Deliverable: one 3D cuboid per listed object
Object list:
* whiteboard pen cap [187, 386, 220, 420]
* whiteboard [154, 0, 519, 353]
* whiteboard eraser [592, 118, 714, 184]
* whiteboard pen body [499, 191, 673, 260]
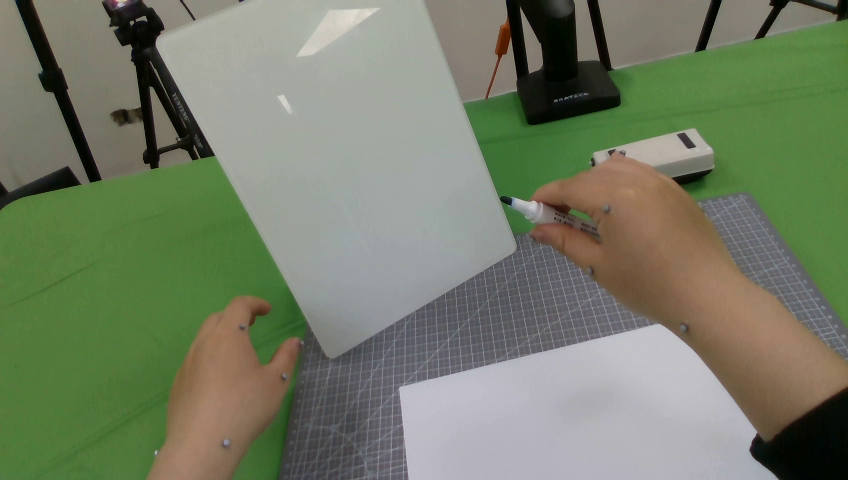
[{"bbox_3d":[-0.190,0.141,0.523,0.018,0.033,0.018,-7,43,7],"label":"whiteboard pen cap"},{"bbox_3d":[-0.076,-0.092,0.587,0.217,0.307,0.142,-29,22,-14],"label":"whiteboard"},{"bbox_3d":[0.239,-0.091,0.637,0.112,0.042,0.055,-12,43,4],"label":"whiteboard eraser"},{"bbox_3d":[0.111,-0.010,0.408,0.141,0.017,0.017,17,36,-21],"label":"whiteboard pen body"}]
